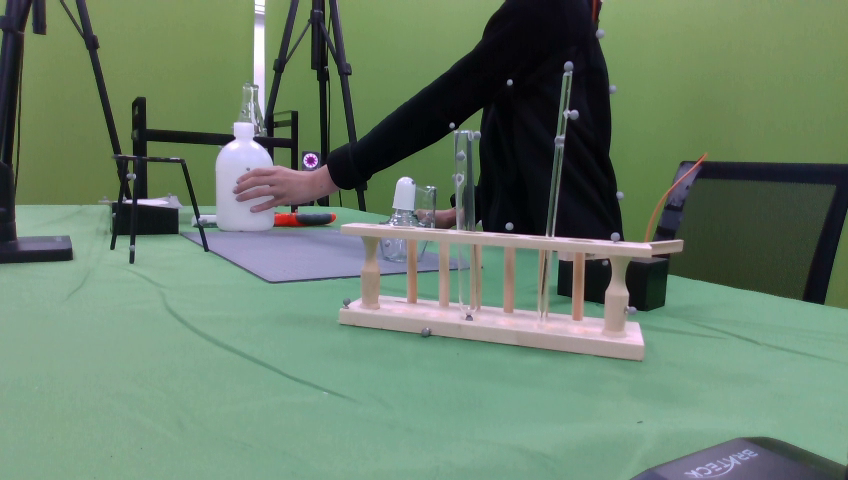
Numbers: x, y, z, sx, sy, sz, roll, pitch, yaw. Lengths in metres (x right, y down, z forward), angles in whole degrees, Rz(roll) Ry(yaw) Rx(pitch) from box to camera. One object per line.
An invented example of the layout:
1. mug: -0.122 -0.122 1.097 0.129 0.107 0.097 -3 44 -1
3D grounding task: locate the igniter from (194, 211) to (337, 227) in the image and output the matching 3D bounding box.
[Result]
1. igniter: -0.307 -0.042 1.199 0.278 0.025 0.057 -3 -10 -30

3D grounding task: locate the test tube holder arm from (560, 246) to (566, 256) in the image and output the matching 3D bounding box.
1. test tube holder arm: 0.173 0.007 0.611 0.088 0.015 0.010 -3 9 -30

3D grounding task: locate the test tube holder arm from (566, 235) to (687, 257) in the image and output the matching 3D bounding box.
1. test tube holder arm: 0.215 0.006 0.630 0.179 0.015 0.013 -3 9 -30

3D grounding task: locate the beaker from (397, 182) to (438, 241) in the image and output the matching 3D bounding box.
1. beaker: -0.011 -0.051 1.078 0.074 0.100 0.083 -2 9 -26

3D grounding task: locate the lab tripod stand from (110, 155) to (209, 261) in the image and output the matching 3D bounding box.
1. lab tripod stand: -0.361 -0.046 0.806 0.148 0.131 0.148 2 5 0

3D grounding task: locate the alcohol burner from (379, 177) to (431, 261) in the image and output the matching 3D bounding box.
1. alcohol burner: -0.027 -0.031 0.838 0.078 0.119 0.078 0 6 0

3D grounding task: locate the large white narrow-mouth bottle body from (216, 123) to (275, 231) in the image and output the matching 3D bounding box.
1. large white narrow-mouth bottle body: -0.327 -0.116 1.107 0.102 0.194 0.102 0 6 0

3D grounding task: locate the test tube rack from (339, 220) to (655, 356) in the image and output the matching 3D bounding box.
1. test tube rack: 0.056 0.032 0.495 0.242 0.085 0.067 4 7 15

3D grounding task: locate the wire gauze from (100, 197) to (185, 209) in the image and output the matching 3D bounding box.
1. wire gauze: -0.469 -0.062 1.008 0.126 0.011 0.121 -2 8 -25

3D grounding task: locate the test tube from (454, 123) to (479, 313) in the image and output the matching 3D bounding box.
1. test tube: 0.034 -0.016 0.477 0.017 0.150 0.017 -2 9 1

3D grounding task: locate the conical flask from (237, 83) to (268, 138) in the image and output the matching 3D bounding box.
1. conical flask: -0.402 -0.299 1.406 0.075 0.122 0.075 2 7 0

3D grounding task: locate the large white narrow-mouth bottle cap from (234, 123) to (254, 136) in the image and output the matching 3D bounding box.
1. large white narrow-mouth bottle cap: -0.327 -0.200 1.098 0.038 0.024 0.037 0 6 0

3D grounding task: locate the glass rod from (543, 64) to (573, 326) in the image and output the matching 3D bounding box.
1. glass rod: 0.101 -0.028 0.453 0.008 0.199 0.008 2 14 0

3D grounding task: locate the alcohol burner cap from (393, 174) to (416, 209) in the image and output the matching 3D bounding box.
1. alcohol burner cap: -0.025 -0.067 0.834 0.034 0.048 0.034 8 7 -1
